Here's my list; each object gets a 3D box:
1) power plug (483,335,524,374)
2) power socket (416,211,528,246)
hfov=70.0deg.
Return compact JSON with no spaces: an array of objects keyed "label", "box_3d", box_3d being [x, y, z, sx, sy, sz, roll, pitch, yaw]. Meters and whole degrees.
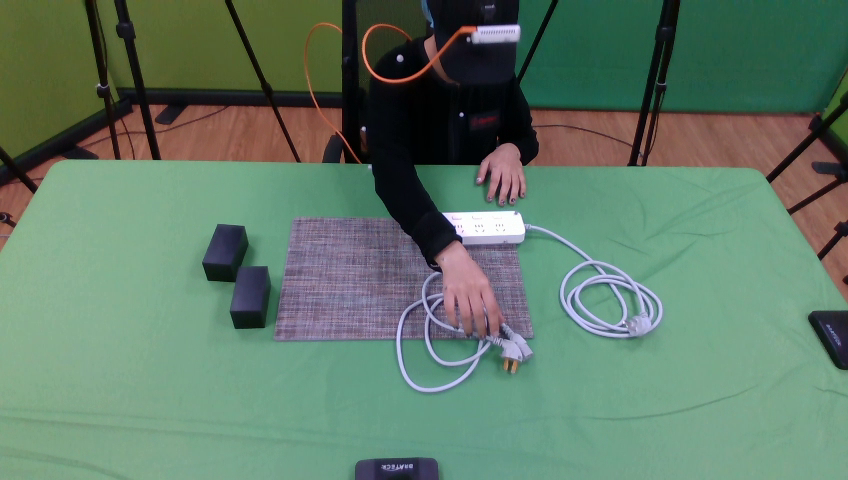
[{"label":"power plug","box_3d":[0.132,0.193,1.019,0.072,0.035,0.052,7,69,26]},{"label":"power socket","box_3d":[0.097,-0.024,1.213,0.227,0.033,0.071,-1,47,-6]}]
